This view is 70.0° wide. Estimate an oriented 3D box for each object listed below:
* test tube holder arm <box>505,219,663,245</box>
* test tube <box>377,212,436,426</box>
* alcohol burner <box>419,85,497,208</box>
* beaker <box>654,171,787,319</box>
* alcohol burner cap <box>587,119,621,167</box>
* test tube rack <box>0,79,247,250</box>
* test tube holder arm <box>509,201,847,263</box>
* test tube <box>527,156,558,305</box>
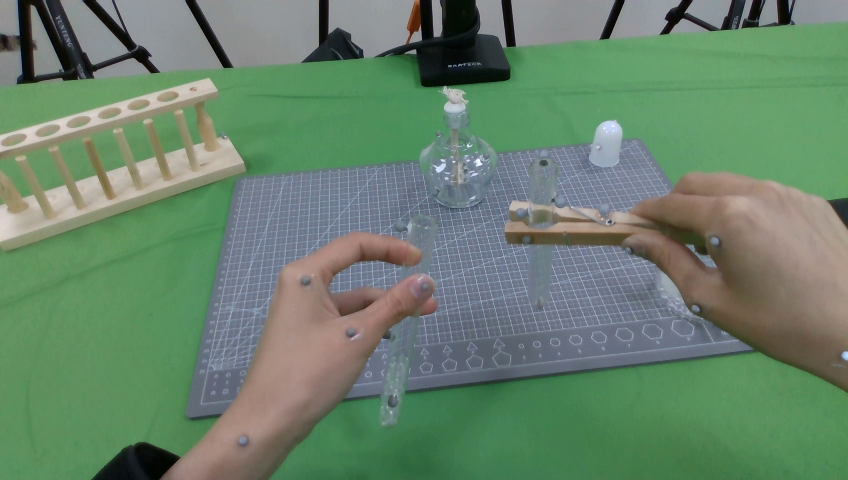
[{"bbox_3d":[0.091,-0.004,0.349,0.087,0.015,0.010,0,61,20],"label":"test tube holder arm"},{"bbox_3d":[-0.012,0.053,0.360,0.017,0.151,0.017,8,28,-4],"label":"test tube"},{"bbox_3d":[0.032,-0.092,0.584,0.078,0.120,0.077,-3,41,3],"label":"alcohol burner"},{"bbox_3d":[0.223,0.006,0.475,0.074,0.101,0.083,-27,46,-23],"label":"beaker"},{"bbox_3d":[0.193,-0.105,0.643,0.034,0.048,0.033,-2,42,2],"label":"alcohol burner cap"},{"bbox_3d":[-0.318,-0.083,0.621,0.243,0.086,0.066,-23,46,-20],"label":"test tube rack"},{"bbox_3d":[0.133,-0.006,0.334,0.177,0.015,0.013,7,64,24],"label":"test tube holder arm"},{"bbox_3d":[0.073,0.002,0.378,0.017,0.152,0.017,-4,56,7],"label":"test tube"}]
